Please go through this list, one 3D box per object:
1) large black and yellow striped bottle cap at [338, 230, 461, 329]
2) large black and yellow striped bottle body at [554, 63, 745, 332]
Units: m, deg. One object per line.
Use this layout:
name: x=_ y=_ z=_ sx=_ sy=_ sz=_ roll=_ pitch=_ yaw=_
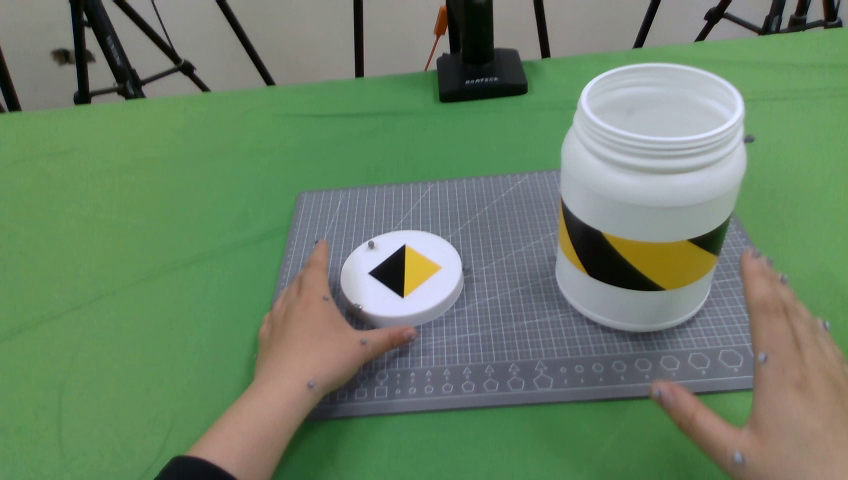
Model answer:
large black and yellow striped bottle cap: x=-0.023 y=0.033 z=0.565 sx=0.115 sy=0.019 sz=0.114 roll=-3 pitch=43 yaw=3
large black and yellow striped bottle body: x=0.173 y=-0.031 z=0.481 sx=0.131 sy=0.186 sz=0.129 roll=-4 pitch=42 yaw=4
